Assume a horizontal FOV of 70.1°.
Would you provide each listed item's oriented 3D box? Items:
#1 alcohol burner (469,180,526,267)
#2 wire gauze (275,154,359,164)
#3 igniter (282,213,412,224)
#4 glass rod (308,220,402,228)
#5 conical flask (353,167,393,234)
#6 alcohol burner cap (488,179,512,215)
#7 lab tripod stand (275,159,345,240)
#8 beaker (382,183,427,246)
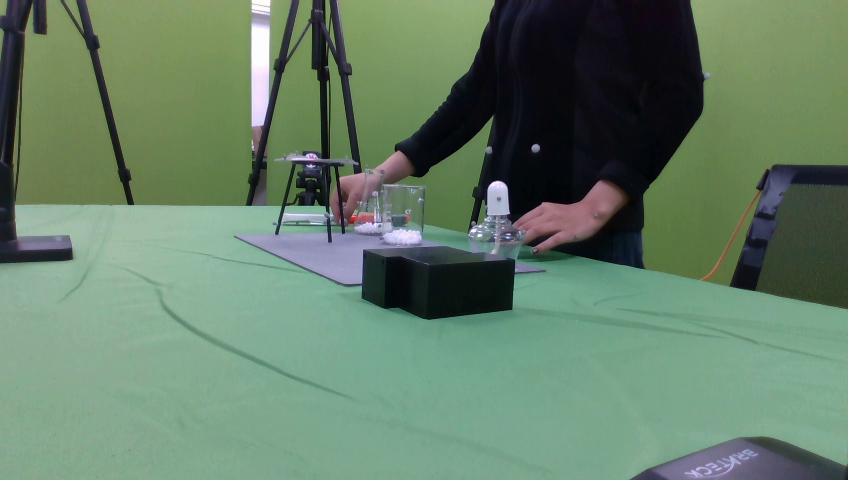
[{"bbox_3d":[0.101,-0.022,0.822,0.078,0.119,0.078,4,7,0],"label":"alcohol burner"},{"bbox_3d":[-0.179,-0.137,1.028,0.121,0.011,0.125,4,8,0],"label":"wire gauze"},{"bbox_3d":[-0.159,-0.046,1.287,0.278,0.025,0.057,-1,-3,-21],"label":"igniter"},{"bbox_3d":[-0.131,-0.032,1.187,0.201,0.008,0.008,3,6,-31],"label":"glass rod"},{"bbox_3d":[-0.093,-0.074,1.126,0.075,0.122,0.075,2,7,0],"label":"conical flask"},{"bbox_3d":[0.101,-0.058,0.816,0.034,0.048,0.034,-5,8,1],"label":"alcohol burner cap"},{"bbox_3d":[-0.181,-0.072,1.039,0.148,0.131,0.148,4,8,0],"label":"lab tripod stand"},{"bbox_3d":[-0.032,-0.044,1.007,0.074,0.100,0.084,6,7,22],"label":"beaker"}]
